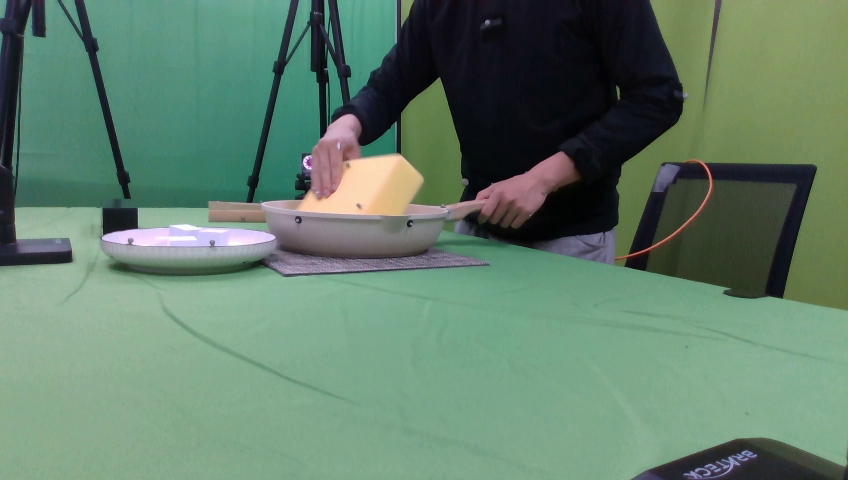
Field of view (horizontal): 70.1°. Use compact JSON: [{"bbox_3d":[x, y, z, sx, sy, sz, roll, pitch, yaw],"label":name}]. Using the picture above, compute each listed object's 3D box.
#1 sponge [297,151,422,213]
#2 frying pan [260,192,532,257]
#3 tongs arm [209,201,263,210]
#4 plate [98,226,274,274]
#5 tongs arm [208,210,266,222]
[{"bbox_3d":[-0.110,-0.069,0.958,0.061,0.118,0.206,40,-22,-32],"label":"sponge"},{"bbox_3d":[-0.016,-0.043,1.006,0.490,0.102,0.305,-11,13,-26],"label":"frying pan"},{"bbox_3d":[-0.306,-0.070,1.429,0.386,0.026,0.050,1,9,-15],"label":"tongs arm"},{"bbox_3d":[-0.301,0.012,0.778,0.208,0.039,0.207,3,7,0],"label":"plate"},{"bbox_3d":[-0.280,-0.055,1.355,0.389,0.028,0.028,-2,6,-28],"label":"tongs arm"}]
